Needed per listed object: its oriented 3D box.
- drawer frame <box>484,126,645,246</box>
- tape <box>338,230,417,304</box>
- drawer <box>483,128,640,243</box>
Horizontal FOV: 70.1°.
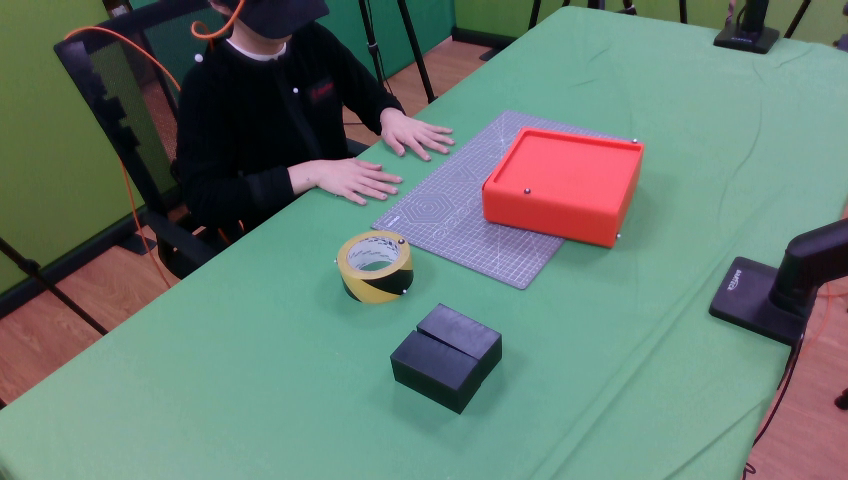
[{"bbox_3d":[0.234,-0.096,1.003,0.212,0.083,0.202,14,44,22],"label":"drawer frame"},{"bbox_3d":[-0.069,0.041,0.918,0.117,0.053,0.116,-4,41,4],"label":"tape"},{"bbox_3d":[0.230,-0.096,1.006,0.210,0.073,0.194,14,44,23],"label":"drawer"}]
